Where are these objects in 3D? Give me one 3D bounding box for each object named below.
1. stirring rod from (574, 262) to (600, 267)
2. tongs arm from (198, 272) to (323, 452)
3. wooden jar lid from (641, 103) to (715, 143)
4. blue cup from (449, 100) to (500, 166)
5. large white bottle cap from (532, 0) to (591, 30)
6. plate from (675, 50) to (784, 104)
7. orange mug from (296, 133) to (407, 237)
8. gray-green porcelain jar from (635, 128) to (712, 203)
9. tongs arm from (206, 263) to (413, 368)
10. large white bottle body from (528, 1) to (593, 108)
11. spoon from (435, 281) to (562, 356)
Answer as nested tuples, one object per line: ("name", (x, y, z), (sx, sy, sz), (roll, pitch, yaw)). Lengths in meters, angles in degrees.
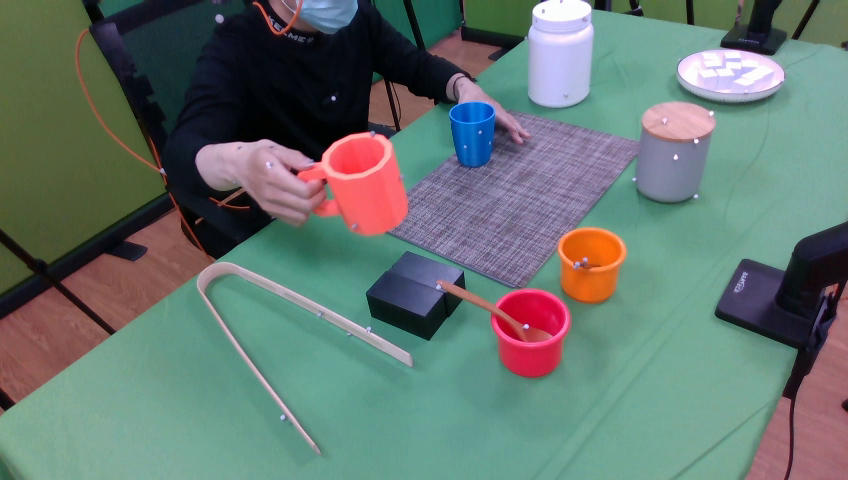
("stirring rod", (0.222, 0.033, 0.816), (0.014, 0.006, 0.177), (8, 1, 22))
("tongs arm", (-0.236, 0.153, 0.830), (0.028, 0.028, 0.384), (-36, 47, -19))
("wooden jar lid", (0.398, -0.180, 0.952), (0.108, 0.021, 0.108), (-4, 43, 4))
("blue cup", (0.092, -0.194, 1.123), (0.092, 0.100, 0.092), (-3, 40, 3))
("large white bottle cap", (0.274, -0.449, 1.204), (0.115, 0.018, 0.114), (-4, 41, 4))
("plate", (0.631, -0.336, 1.262), (0.207, 0.039, 0.206), (-4, 41, 4))
("orange mug", (-0.089, -0.066, 0.743), (0.126, 0.101, 0.083), (-4, 47, 4))
("gray-green porcelain jar", (0.405, -0.133, 0.992), (0.106, 0.127, 0.105), (-4, 40, 4))
("tongs arm", (-0.179, 0.106, 0.870), (0.381, 0.026, 0.051), (23, 53, 32))
("large white bottle body", (0.283, -0.386, 1.259), (0.130, 0.185, 0.130), (-5, 41, 5))
("spoon", (0.096, 0.096, 0.757), (0.195, 0.021, 0.041), (33, 32, -19))
